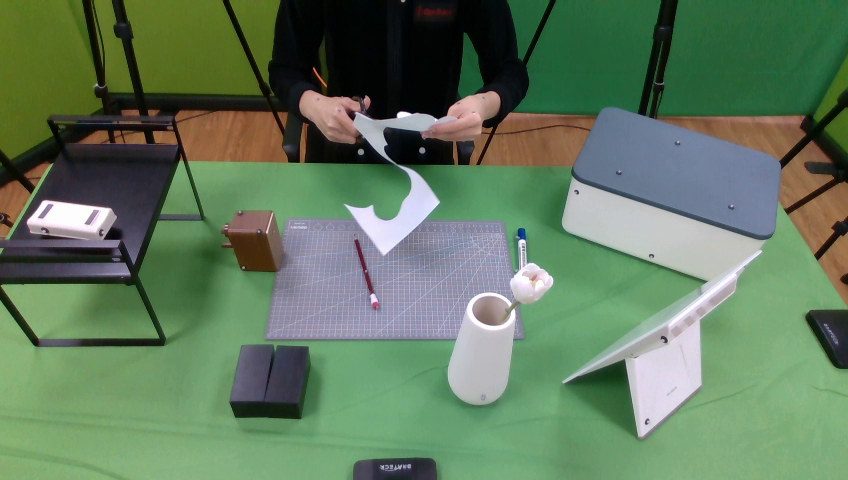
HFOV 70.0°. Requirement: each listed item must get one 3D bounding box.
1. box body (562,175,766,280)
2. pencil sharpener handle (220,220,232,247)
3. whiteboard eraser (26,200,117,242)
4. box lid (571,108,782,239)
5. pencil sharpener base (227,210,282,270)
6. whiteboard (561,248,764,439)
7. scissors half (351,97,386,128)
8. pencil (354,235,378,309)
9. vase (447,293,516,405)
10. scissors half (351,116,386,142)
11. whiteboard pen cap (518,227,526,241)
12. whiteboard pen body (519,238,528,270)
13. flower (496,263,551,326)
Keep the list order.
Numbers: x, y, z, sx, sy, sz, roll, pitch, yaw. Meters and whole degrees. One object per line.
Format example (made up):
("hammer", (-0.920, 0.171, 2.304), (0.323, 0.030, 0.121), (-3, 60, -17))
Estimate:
("box body", (0.486, -0.088, 1.222), (0.363, 0.161, 0.253), (20, 48, 15))
("pencil sharpener handle", (-0.362, -0.009, 1.105), (0.030, 0.068, 0.036), (1, 52, 1))
("whiteboard eraser", (-0.532, -0.026, 0.919), (0.113, 0.042, 0.055), (7, 45, 3))
("box lid", (0.491, -0.139, 1.168), (0.370, 0.015, 0.262), (20, 49, 15))
("pencil sharpener base", (-0.311, 0.001, 1.112), (0.077, 0.107, 0.061), (1, 47, 1))
("whiteboard", (0.386, 0.176, 0.905), (0.217, 0.306, 0.143), (-26, 72, -27))
("scissors half", (-0.095, -0.214, 1.035), (0.013, 0.040, 0.174), (-9, 27, -22))
("pencil", (-0.113, 0.055, 1.143), (0.012, 0.012, 0.192), (-10, 46, -13))
("vase", (0.091, 0.169, 0.921), (0.098, 0.201, 0.097), (3, 47, -3))
("scissors half", (-0.096, -0.194, 1.040), (0.013, 0.040, 0.174), (-3, 4, -23))
("whiteboard pen cap", (0.197, -0.009, 1.220), (0.018, 0.018, 0.033), (5, 51, 1))
("whiteboard pen body", (0.193, 0.035, 1.180), (0.017, 0.017, 0.140), (6, 48, 1))
("flower", (0.102, 0.121, 0.853), (0.044, 0.363, 0.038), (-2, 64, -10))
